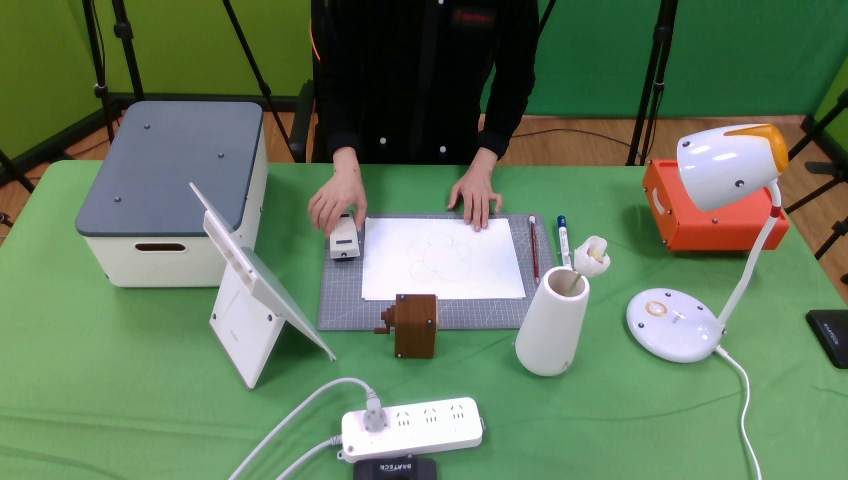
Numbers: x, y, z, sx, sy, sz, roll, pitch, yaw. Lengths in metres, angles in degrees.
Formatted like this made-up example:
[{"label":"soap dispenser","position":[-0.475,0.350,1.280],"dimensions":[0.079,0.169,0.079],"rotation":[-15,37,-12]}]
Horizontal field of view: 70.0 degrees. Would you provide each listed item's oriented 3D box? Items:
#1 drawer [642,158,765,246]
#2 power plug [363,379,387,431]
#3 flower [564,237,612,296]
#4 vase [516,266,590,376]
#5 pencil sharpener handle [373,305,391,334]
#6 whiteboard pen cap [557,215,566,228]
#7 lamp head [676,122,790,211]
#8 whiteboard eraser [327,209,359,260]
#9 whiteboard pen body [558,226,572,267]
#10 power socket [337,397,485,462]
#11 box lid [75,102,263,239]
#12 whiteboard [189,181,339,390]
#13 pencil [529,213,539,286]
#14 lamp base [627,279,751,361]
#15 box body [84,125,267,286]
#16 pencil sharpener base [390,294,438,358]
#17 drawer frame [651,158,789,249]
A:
[{"label":"drawer","position":[0.565,-0.076,1.211],"dimensions":[0.212,0.073,0.193],"rotation":[2,45,-2]},{"label":"power plug","position":[-0.072,0.252,0.910],"dimensions":[0.035,0.053,0.072],"rotation":[3,45,-1]},{"label":"flower","position":[0.206,0.088,0.893],"dimensions":[0.038,0.363,0.044],"rotation":[-17,67,-9]},{"label":"vase","position":[0.208,0.132,0.964],"dimensions":[0.098,0.201,0.097],"rotation":[3,46,-3]},{"label":"pencil sharpener handle","position":[-0.069,0.133,0.989],"dimensions":[0.030,0.068,0.036],"rotation":[1,47,-2]},{"label":"whiteboard pen cap","position":[0.284,-0.035,1.246],"dimensions":[0.018,0.018,0.033],"rotation":[4,52,-1]},{"label":"lamp head","position":[0.423,-0.104,0.819],"dimensions":[0.122,0.113,0.112],"rotation":[-13,33,40]},{"label":"whiteboard eraser","position":[-0.158,-0.010,1.177],"dimensions":[0.055,0.042,0.112],"rotation":[-8,48,-5]},{"label":"whiteboard pen body","position":[0.280,0.010,1.208],"dimensions":[0.017,0.017,0.140],"rotation":[3,50,-1]},{"label":"power socket","position":[-0.018,0.285,0.915],"dimensions":[0.227,0.033,0.071],"rotation":[-5,46,-8]},{"label":"box lid","position":[-0.443,-0.138,1.094],"dimensions":[0.263,0.015,0.369],"rotation":[-1,47,-5]},{"label":"whiteboard","position":[-0.292,0.096,0.929],"dimensions":[0.144,0.307,0.216],"rotation":[-37,57,-10]},{"label":"pencil","position":[0.220,0.016,1.204],"dimensions":[0.012,0.012,0.193],"rotation":[5,47,0]},{"label":"lamp base","position":[0.459,0.100,1.027],"dimensions":[0.178,0.181,0.160],"rotation":[27,51,17]},{"label":"box body","position":[-0.446,-0.088,1.150],"dimensions":[0.254,0.161,0.361],"rotation":[-1,46,-5]},{"label":"pencil sharpener base","position":[-0.018,0.143,1.000],"dimensions":[0.077,0.107,0.061],"rotation":[1,46,-2]},{"label":"drawer frame","position":[0.571,-0.075,1.214],"dimensions":[0.214,0.083,0.200],"rotation":[0,46,-1]}]
